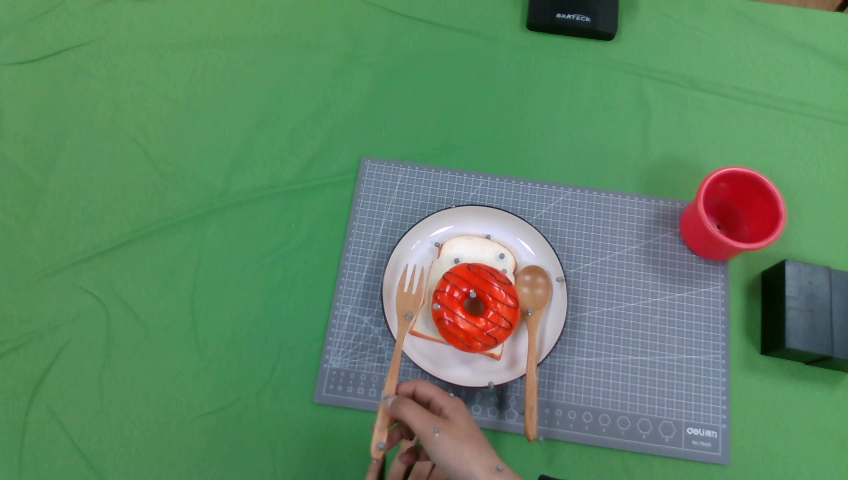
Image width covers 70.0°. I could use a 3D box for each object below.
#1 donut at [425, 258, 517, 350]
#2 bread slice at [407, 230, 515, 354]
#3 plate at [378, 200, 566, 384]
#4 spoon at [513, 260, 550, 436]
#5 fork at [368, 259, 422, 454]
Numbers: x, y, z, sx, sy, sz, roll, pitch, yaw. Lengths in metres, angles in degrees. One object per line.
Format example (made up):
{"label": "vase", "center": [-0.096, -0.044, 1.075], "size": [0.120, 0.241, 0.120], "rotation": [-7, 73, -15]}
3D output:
{"label": "donut", "center": [0.050, 0.067, 0.647], "size": [0.099, 0.048, 0.098], "rotation": [1, 77, -3]}
{"label": "bread slice", "center": [0.047, 0.052, 0.683], "size": [0.105, 0.019, 0.131], "rotation": [15, 74, 2]}
{"label": "plate", "center": [0.053, 0.058, 0.679], "size": [0.209, 0.038, 0.208], "rotation": [1, 72, -1]}
{"label": "spoon", "center": [0.112, 0.110, 0.648], "size": [0.041, 0.022, 0.192], "rotation": [5, 59, 5]}
{"label": "fork", "center": [-0.028, 0.104, 0.584], "size": [0.028, 0.019, 0.205], "rotation": [15, 51, -4]}
